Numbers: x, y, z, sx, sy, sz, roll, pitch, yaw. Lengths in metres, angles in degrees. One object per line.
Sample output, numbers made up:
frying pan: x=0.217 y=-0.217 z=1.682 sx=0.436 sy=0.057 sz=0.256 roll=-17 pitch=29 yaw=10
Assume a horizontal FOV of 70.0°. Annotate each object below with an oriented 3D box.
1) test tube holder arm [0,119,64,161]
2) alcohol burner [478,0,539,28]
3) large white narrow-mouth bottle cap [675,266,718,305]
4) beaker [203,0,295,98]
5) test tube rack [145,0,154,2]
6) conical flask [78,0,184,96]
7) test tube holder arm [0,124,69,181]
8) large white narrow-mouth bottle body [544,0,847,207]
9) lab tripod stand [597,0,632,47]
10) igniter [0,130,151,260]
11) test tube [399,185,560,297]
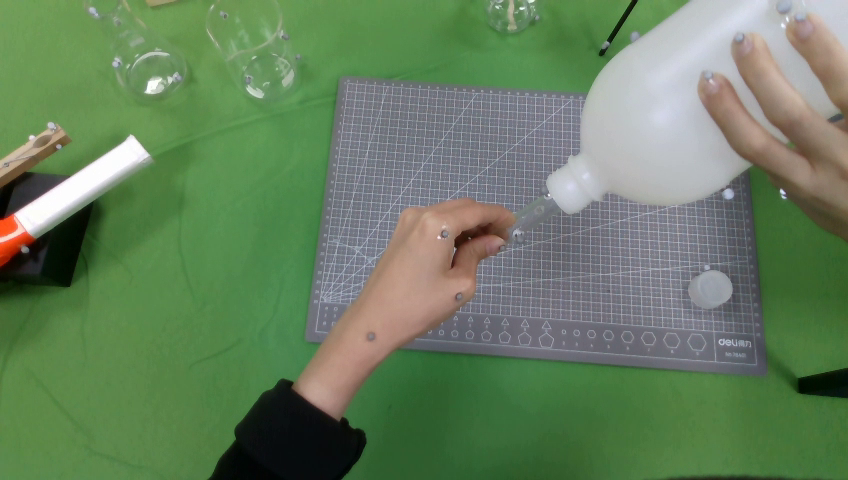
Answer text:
test tube holder arm: x=-0.423 y=-0.057 z=0.574 sx=0.178 sy=0.015 sz=0.013 roll=-40 pitch=77 yaw=-13
alcohol burner: x=0.095 y=-0.290 z=0.658 sx=0.078 sy=0.120 sz=0.077 roll=1 pitch=71 yaw=-2
large white narrow-mouth bottle cap: x=0.272 y=0.045 z=0.602 sx=0.038 sy=0.024 sz=0.037 roll=0 pitch=74 yaw=0
beaker: x=-0.178 y=-0.201 z=0.632 sx=0.074 sy=0.101 sz=0.083 roll=19 pitch=73 yaw=6
test tube rack: x=-0.217 y=-0.352 z=0.686 sx=0.242 sy=0.085 sz=0.066 roll=-16 pitch=73 yaw=-6
conical flask: x=-0.304 y=-0.209 z=0.620 sx=0.075 sy=0.122 sz=0.075 roll=0 pitch=72 yaw=0
test tube holder arm: x=-0.385 y=-0.080 z=0.583 sx=0.088 sy=0.015 sz=0.010 roll=-38 pitch=77 yaw=-13
large white narrow-mouth bottle body: x=0.154 y=-0.082 z=0.344 sx=0.195 sy=0.102 sz=0.101 roll=-36 pitch=72 yaw=27
lab tripod stand: x=0.264 y=-0.275 z=0.646 sx=0.148 sy=0.132 sz=0.147 roll=1 pitch=71 yaw=-2
igniter: x=-0.381 y=-0.011 z=0.558 sx=0.276 sy=0.025 sz=0.057 roll=-40 pitch=79 yaw=-15
test tube: x=0.036 y=0.004 z=0.433 sx=0.150 sy=0.017 sz=0.017 roll=-35 pitch=71 yaw=31
